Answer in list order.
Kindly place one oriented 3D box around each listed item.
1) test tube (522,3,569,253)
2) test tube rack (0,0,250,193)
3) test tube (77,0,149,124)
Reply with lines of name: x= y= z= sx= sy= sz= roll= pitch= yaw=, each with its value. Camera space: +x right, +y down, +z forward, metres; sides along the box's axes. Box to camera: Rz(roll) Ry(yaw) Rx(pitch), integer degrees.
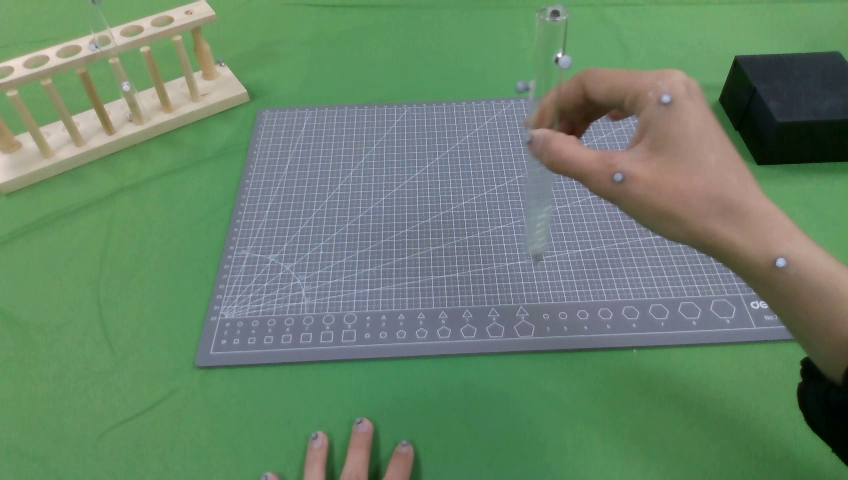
test tube: x=0.063 y=-0.050 z=0.327 sx=0.017 sy=0.151 sz=0.017 roll=-3 pitch=42 yaw=3
test tube rack: x=-0.303 y=-0.142 z=0.581 sx=0.242 sy=0.086 sz=0.066 roll=-27 pitch=53 yaw=-20
test tube: x=-0.281 y=-0.168 z=0.543 sx=0.017 sy=0.152 sz=0.017 roll=-1 pitch=49 yaw=1
